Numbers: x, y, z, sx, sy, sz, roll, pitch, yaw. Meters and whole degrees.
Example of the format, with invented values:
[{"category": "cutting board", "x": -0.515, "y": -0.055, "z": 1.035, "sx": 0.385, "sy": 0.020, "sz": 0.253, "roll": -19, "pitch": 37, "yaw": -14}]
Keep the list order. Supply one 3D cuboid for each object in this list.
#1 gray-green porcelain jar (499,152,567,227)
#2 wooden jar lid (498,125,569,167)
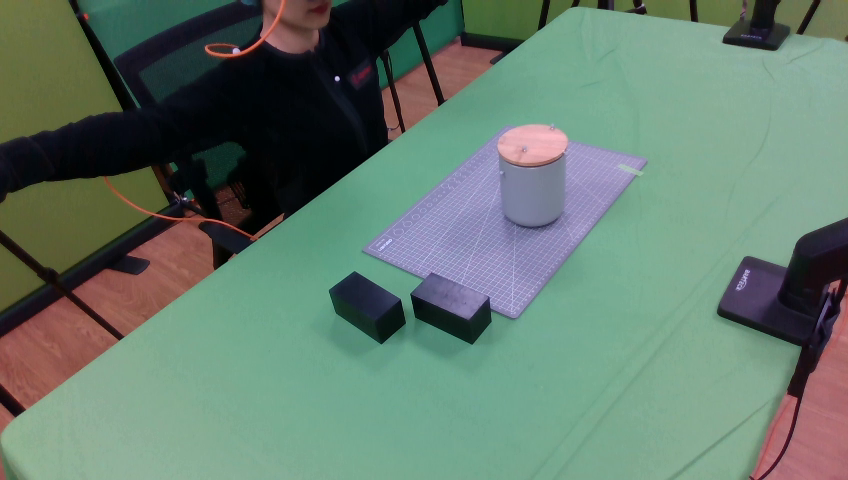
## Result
[{"category": "gray-green porcelain jar", "x": 0.177, "y": -0.093, "z": 0.974, "sx": 0.106, "sy": 0.127, "sz": 0.105, "roll": -5, "pitch": 40, "yaw": 5}, {"category": "wooden jar lid", "x": 0.168, "y": -0.142, "z": 0.933, "sx": 0.108, "sy": 0.021, "sz": 0.108, "roll": -5, "pitch": 41, "yaw": 4}]
